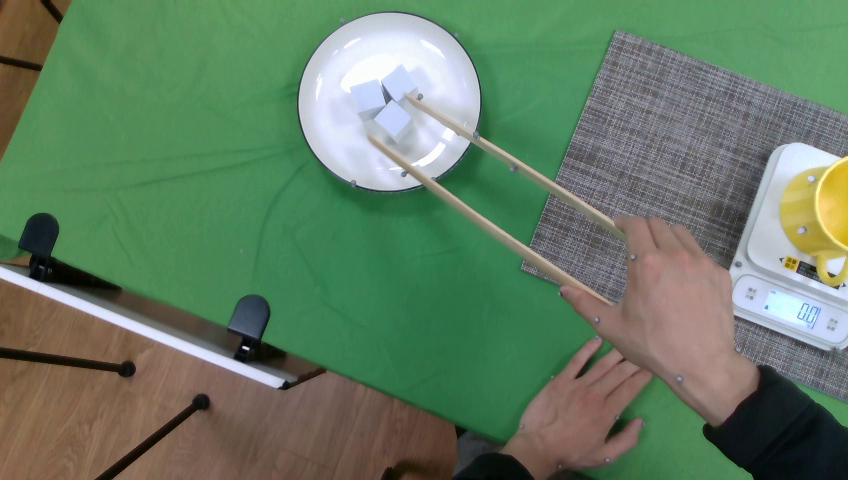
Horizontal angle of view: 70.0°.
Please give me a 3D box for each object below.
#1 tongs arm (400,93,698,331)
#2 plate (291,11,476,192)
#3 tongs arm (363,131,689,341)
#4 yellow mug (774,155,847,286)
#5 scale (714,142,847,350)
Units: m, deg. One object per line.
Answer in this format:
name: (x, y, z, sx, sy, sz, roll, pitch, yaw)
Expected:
tongs arm: (0.093, -0.046, 0.574, 0.381, 0.027, 0.050, 37, 82, 33)
plate: (-0.045, -0.154, 0.693, 0.207, 0.039, 0.207, 0, 85, 2)
tongs arm: (0.067, -0.018, 0.571, 0.028, 0.028, 0.383, -47, 57, -10)
yellow mug: (0.421, -0.017, 0.616, 0.100, 0.064, 0.130, 12, 87, 2)
scale: (0.420, 0.006, 0.662, 0.148, 0.031, 0.200, 22, 87, 4)
